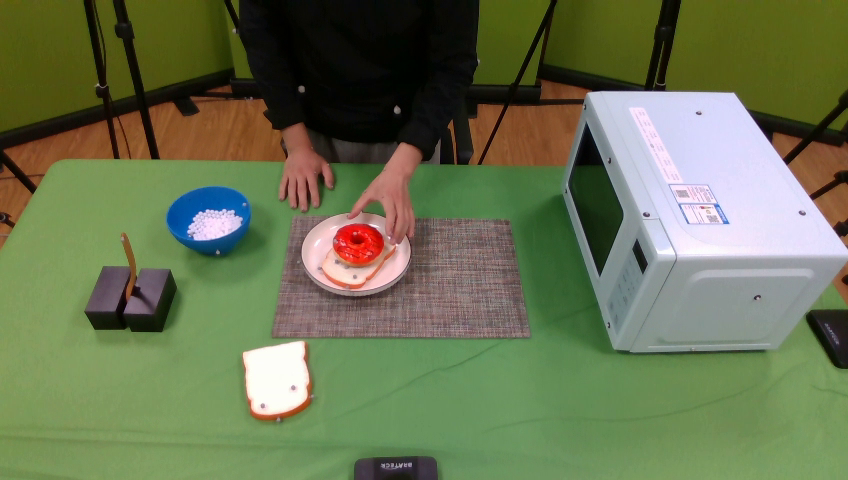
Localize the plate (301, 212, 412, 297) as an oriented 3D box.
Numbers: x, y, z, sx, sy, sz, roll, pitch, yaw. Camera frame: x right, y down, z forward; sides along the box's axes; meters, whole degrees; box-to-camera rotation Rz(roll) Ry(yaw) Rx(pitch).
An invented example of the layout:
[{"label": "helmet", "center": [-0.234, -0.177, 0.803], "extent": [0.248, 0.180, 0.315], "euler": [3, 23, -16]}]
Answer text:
[{"label": "plate", "center": [-0.127, 0.031, 1.145], "extent": [0.208, 0.039, 0.206], "euler": [2, 46, -2]}]

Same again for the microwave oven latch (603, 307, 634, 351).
[{"label": "microwave oven latch", "center": [0.332, 0.153, 1.044], "extent": [0.030, 0.029, 0.078], "euler": [0, 45, -4]}]

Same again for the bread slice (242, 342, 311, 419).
[{"label": "bread slice", "center": [-0.234, 0.223, 0.970], "extent": [0.105, 0.019, 0.130], "euler": [-10, 46, -13]}]

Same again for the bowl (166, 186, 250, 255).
[{"label": "bowl", "center": [-0.403, -0.024, 1.154], "extent": [0.151, 0.077, 0.150], "euler": [2, 46, -2]}]

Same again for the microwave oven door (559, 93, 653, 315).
[{"label": "microwave oven door", "center": [0.327, -0.074, 1.123], "extent": [0.039, 0.245, 0.353], "euler": [-1, 46, -5]}]

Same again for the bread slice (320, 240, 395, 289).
[{"label": "bread slice", "center": [-0.129, 0.037, 1.140], "extent": [0.107, 0.018, 0.134], "euler": [19, 47, 14]}]

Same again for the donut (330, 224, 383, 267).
[{"label": "donut", "center": [-0.125, 0.010, 1.127], "extent": [0.099, 0.048, 0.098], "euler": [3, 45, -3]}]

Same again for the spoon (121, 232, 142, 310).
[{"label": "spoon", "center": [-0.479, 0.051, 0.994], "extent": [0.022, 0.194, 0.041], "euler": [13, 46, -11]}]

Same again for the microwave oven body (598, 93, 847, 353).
[{"label": "microwave oven body", "center": [0.475, -0.041, 1.109], "extent": [0.326, 0.261, 0.438], "euler": [-1, 45, -4]}]
